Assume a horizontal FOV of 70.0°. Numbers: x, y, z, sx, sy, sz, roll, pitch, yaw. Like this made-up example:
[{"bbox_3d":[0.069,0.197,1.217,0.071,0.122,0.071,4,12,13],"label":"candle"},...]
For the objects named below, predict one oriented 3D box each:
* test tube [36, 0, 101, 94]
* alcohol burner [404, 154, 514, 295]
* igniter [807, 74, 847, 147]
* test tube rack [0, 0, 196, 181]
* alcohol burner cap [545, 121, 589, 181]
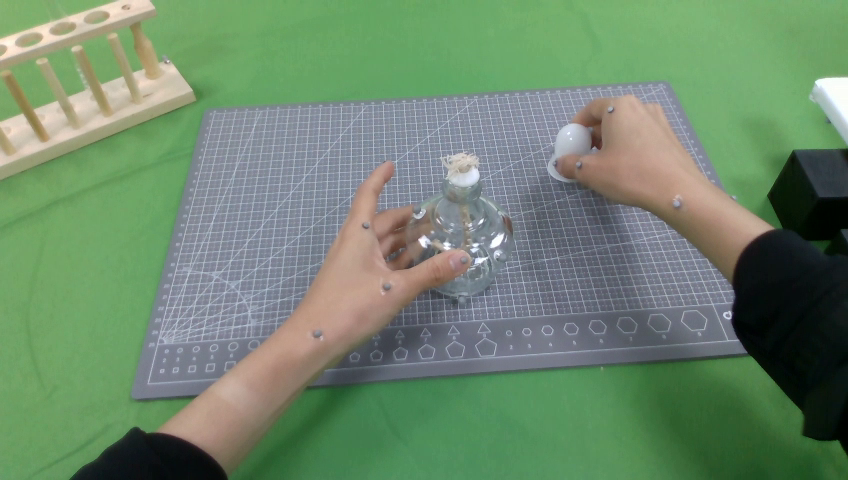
[{"bbox_3d":[-0.320,-0.195,0.524,0.017,0.152,0.017,-4,42,4],"label":"test tube"},{"bbox_3d":[0.025,-0.015,0.413,0.078,0.120,0.077,0,52,0],"label":"alcohol burner"},{"bbox_3d":[0.332,-0.027,0.412,0.057,0.025,0.274,-2,49,4],"label":"igniter"},{"bbox_3d":[-0.342,-0.127,0.538,0.242,0.086,0.066,-29,56,-20],"label":"test tube rack"},{"bbox_3d":[0.117,-0.075,0.489,0.034,0.048,0.033,-2,51,3],"label":"alcohol burner cap"}]
